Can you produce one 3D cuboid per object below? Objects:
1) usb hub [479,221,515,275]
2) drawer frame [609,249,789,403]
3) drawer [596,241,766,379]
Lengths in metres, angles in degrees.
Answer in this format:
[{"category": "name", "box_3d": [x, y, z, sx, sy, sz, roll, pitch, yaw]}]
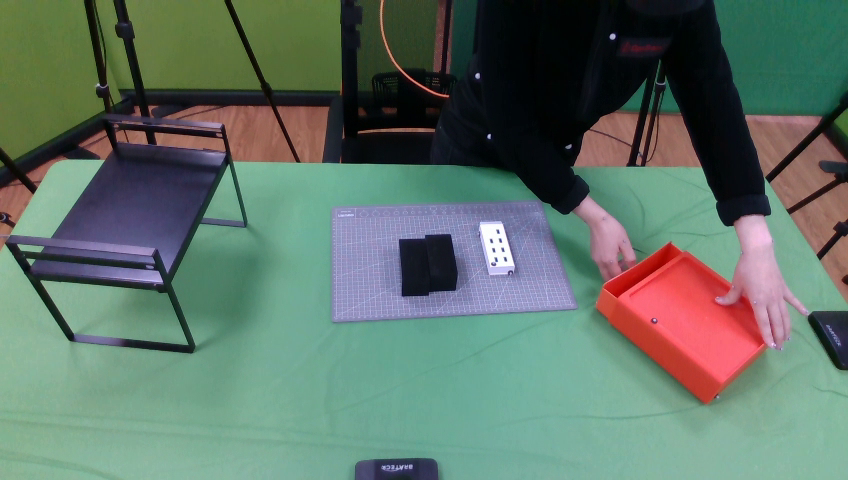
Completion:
[{"category": "usb hub", "box_3d": [0.141, 0.014, 1.187, 0.049, 0.025, 0.124, -3, 46, -6]}, {"category": "drawer frame", "box_3d": [0.470, 0.139, 1.051, 0.202, 0.083, 0.212, -28, 55, -27]}, {"category": "drawer", "box_3d": [0.449, 0.122, 1.071, 0.194, 0.073, 0.210, -26, 54, -27]}]
